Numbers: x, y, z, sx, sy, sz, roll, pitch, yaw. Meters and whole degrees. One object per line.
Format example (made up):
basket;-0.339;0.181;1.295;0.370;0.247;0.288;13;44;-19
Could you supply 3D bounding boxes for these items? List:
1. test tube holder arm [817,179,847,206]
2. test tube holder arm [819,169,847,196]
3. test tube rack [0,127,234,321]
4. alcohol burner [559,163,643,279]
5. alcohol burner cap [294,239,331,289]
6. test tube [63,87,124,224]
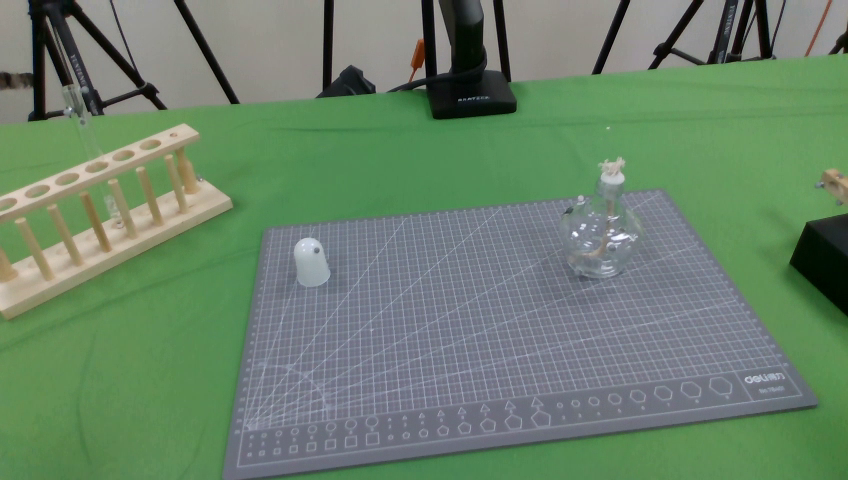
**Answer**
test tube holder arm;0.418;-0.010;0.533;0.015;0.013;0.176;-10;39;-10
test tube holder arm;0.407;-0.040;0.564;0.015;0.010;0.087;-10;39;-10
test tube rack;-0.329;-0.026;0.624;0.242;0.086;0.066;-33;48;-32
alcohol burner;0.166;-0.022;0.562;0.078;0.120;0.077;-1;41;1
alcohol burner cap;-0.109;0.020;0.584;0.034;0.048;0.033;-2;39;2
test tube;-0.331;-0.081;0.613;0.017;0.151;0.017;-1;35;1
